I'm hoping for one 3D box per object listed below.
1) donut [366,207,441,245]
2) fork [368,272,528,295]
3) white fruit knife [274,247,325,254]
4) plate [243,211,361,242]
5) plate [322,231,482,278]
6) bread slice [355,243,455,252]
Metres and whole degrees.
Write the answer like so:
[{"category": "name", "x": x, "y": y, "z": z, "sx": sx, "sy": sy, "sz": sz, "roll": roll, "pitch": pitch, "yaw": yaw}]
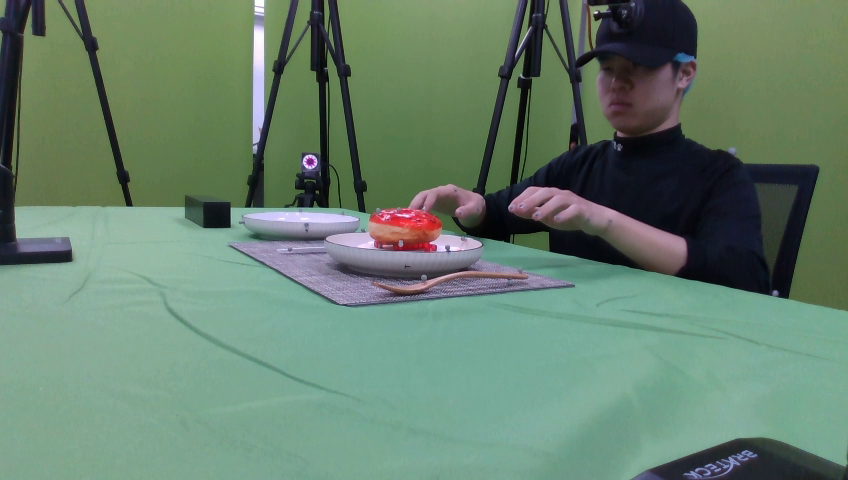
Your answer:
[{"category": "donut", "x": -0.027, "y": -0.017, "z": 0.786, "sx": 0.099, "sy": 0.048, "sz": 0.099, "roll": 2, "pitch": 7, "yaw": 0}, {"category": "fork", "x": 0.034, "y": 0.046, "z": 0.661, "sx": 0.208, "sy": 0.018, "sz": 0.028, "roll": -4, "pitch": 2, "yaw": -33}, {"category": "white fruit knife", "x": -0.118, "y": 0.013, "z": 0.899, "sx": 0.208, "sy": 0.016, "sz": 0.027, "roll": -3, "pitch": -20, "yaw": -27}, {"category": "plate", "x": -0.219, "y": -0.025, "z": 1.092, "sx": 0.208, "sy": 0.039, "sz": 0.207, "roll": 3, "pitch": 7, "yaw": 0}, {"category": "plate", "x": -0.028, "y": 0.018, "z": 0.789, "sx": 0.209, "sy": 0.038, "sz": 0.209, "roll": 3, "pitch": 7, "yaw": 0}, {"category": "bread slice", "x": -0.027, "y": 0.020, "z": 0.794, "sx": 0.131, "sy": 0.019, "sz": 0.105, "roll": 6, "pitch": 7, "yaw": 17}]
